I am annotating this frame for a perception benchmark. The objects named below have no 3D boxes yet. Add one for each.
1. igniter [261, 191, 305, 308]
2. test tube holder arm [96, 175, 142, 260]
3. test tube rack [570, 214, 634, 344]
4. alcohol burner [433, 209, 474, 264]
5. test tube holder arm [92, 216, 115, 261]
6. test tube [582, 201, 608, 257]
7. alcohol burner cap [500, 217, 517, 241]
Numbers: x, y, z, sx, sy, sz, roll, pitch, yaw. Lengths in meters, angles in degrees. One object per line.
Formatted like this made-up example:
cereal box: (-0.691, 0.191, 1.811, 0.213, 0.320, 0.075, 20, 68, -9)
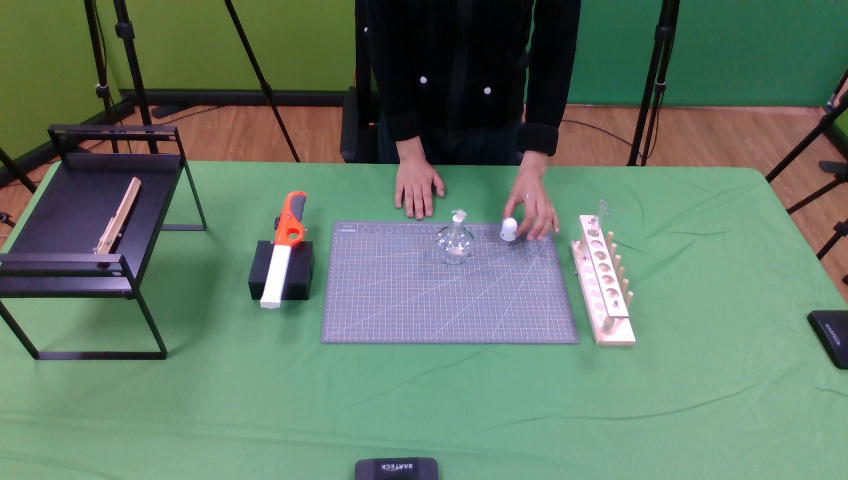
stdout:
igniter: (-0.255, 0.007, 1.104, 0.057, 0.025, 0.275, 5, 47, -4)
test tube holder arm: (-0.473, -0.039, 0.946, 0.013, 0.015, 0.177, -18, 43, 19)
test tube rack: (0.333, 0.067, 1.116, 0.067, 0.085, 0.241, 1, 46, -3)
alcohol burner: (0.058, -0.011, 1.147, 0.078, 0.119, 0.077, 3, 44, -2)
test tube holder arm: (-0.479, -0.004, 0.917, 0.010, 0.015, 0.087, -18, 43, 20)
test tube: (0.316, -0.017, 1.127, 0.017, 0.151, 0.017, 1, 51, -1)
alcohol burner cap: (0.167, -0.024, 1.186, 0.034, 0.048, 0.033, -1, 54, 1)
